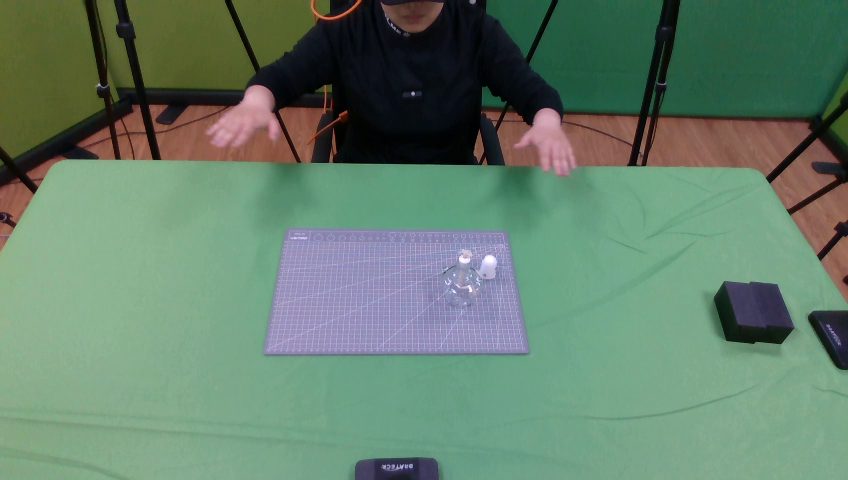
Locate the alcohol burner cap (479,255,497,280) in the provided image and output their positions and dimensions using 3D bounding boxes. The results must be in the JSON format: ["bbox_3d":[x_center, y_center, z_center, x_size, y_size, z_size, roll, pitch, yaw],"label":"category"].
[{"bbox_3d":[0.122,0.050,1.143,0.034,0.048,0.033,2,45,-2],"label":"alcohol burner cap"}]

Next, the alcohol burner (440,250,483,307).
[{"bbox_3d":[0.068,0.063,1.076,0.078,0.120,0.077,1,45,-1],"label":"alcohol burner"}]
